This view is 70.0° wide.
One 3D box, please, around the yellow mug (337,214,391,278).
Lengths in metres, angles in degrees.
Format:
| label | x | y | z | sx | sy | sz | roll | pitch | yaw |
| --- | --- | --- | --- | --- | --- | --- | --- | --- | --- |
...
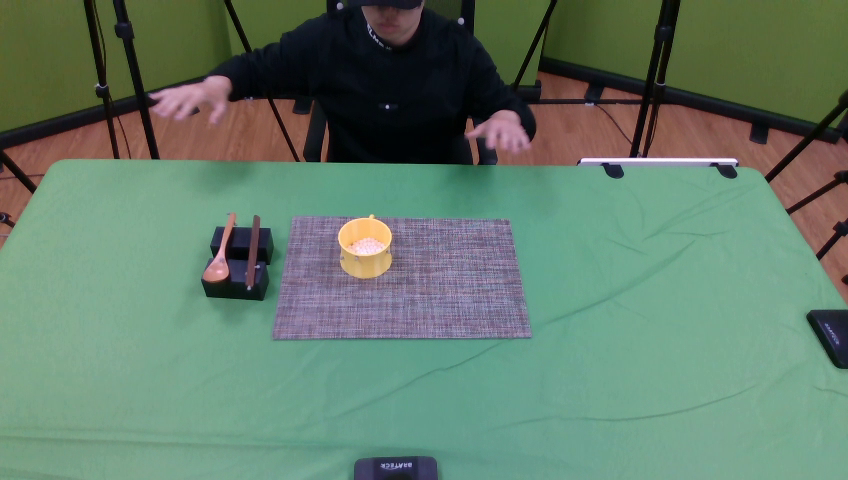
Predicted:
| label | x | y | z | sx | sy | sz | roll | pitch | yaw |
| --- | --- | --- | --- | --- | --- | --- | --- | --- | --- |
| yellow mug | -0.110 | 0.003 | 1.152 | 0.100 | 0.064 | 0.130 | 7 | 45 | 2 |

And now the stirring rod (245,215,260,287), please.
| label | x | y | z | sx | sy | sz | roll | pitch | yaw |
| --- | --- | --- | --- | --- | --- | --- | --- | --- | --- |
| stirring rod | -0.310 | 0.016 | 1.096 | 0.014 | 0.006 | 0.175 | 28 | 36 | -32 |

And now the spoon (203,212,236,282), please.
| label | x | y | z | sx | sy | sz | roll | pitch | yaw |
| --- | --- | --- | --- | --- | --- | --- | --- | --- | --- |
| spoon | -0.361 | 0.009 | 1.097 | 0.041 | 0.022 | 0.192 | -1 | 44 | -2 |
